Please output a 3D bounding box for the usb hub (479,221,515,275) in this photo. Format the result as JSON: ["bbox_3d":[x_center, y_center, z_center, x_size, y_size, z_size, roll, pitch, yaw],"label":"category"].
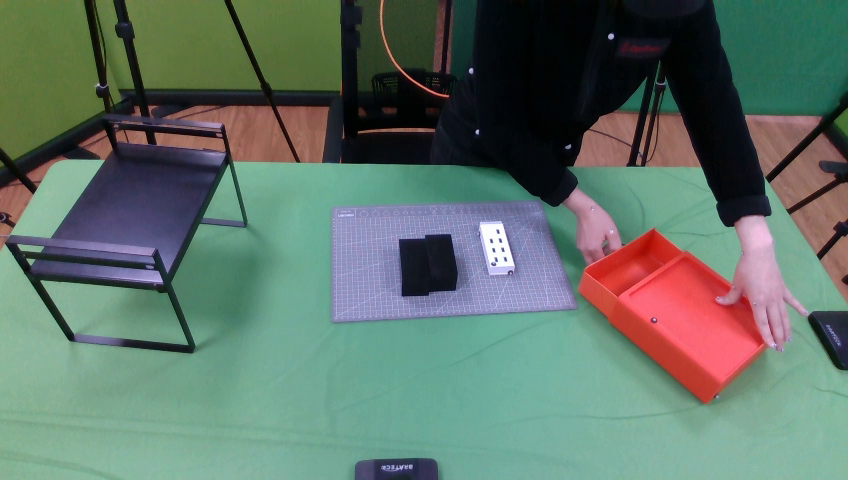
[{"bbox_3d":[0.141,0.014,1.187,0.049,0.025,0.124,-3,46,-6],"label":"usb hub"}]

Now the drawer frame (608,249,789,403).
[{"bbox_3d":[0.470,0.139,1.051,0.202,0.083,0.212,-28,55,-27],"label":"drawer frame"}]

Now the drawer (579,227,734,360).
[{"bbox_3d":[0.424,0.095,1.093,0.194,0.073,0.210,-26,53,-26],"label":"drawer"}]
